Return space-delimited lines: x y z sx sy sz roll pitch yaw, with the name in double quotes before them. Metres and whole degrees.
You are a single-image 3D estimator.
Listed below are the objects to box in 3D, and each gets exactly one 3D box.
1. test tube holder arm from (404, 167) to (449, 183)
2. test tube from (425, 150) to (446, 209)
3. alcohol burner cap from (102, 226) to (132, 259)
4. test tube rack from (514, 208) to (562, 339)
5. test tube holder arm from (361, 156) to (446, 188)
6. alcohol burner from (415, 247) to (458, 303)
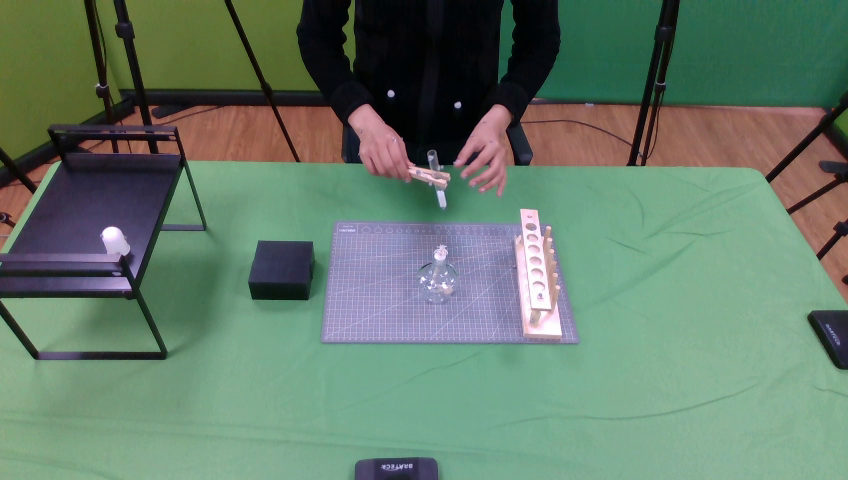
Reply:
"test tube holder arm" 0.003 -0.117 1.084 0.087 0.015 0.010 12 54 19
"test tube" 0.023 -0.105 1.079 0.017 0.151 0.017 -6 55 8
"alcohol burner cap" -0.457 0.001 0.897 0.034 0.048 0.033 2 46 -1
"test tube rack" 0.212 0.056 1.113 0.067 0.085 0.241 3 46 -1
"test tube holder arm" -0.040 -0.125 1.098 0.178 0.015 0.013 18 55 23
"alcohol burner" 0.024 0.057 1.078 0.078 0.119 0.077 3 44 -3
